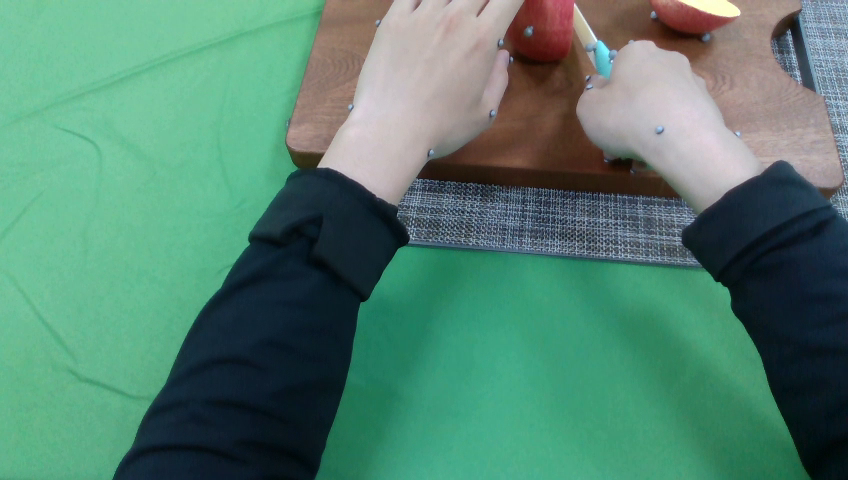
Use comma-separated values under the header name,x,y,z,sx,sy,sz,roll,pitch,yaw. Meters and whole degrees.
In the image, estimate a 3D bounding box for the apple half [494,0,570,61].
name,x,y,z,sx,sy,sz,roll,pitch,yaw
apple half,0.080,-0.179,0.463,0.053,0.075,0.080,-4,64,6

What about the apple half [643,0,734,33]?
name,x,y,z,sx,sy,sz,roll,pitch,yaw
apple half,0.198,-0.184,0.478,0.081,0.033,0.080,12,45,-12

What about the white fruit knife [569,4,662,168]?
name,x,y,z,sx,sy,sz,roll,pitch,yaw
white fruit knife,0.128,-0.134,0.449,0.016,0.028,0.205,-12,52,-3
